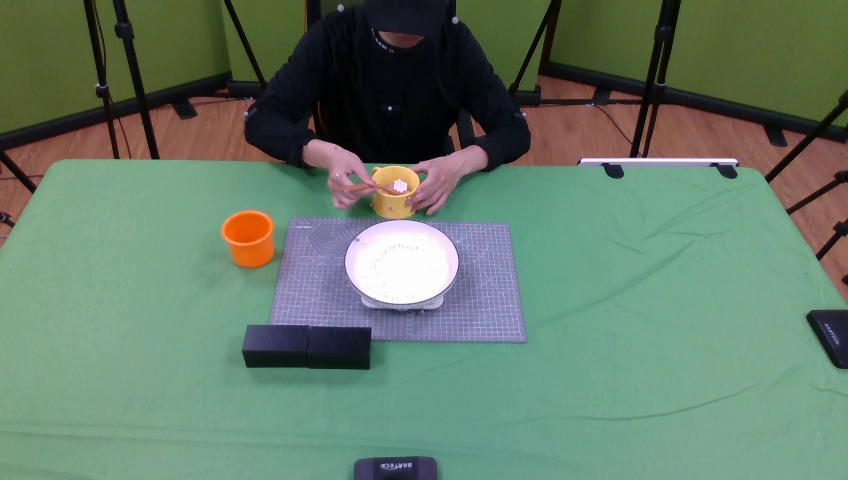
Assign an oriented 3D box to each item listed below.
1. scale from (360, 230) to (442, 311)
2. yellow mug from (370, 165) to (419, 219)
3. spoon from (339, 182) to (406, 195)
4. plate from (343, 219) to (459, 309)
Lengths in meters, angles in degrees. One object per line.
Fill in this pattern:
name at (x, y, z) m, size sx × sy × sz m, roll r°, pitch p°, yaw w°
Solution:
scale at (-0.042, 0.047, 1.138) m, size 0.149 × 0.032 × 0.199 m, roll 2°, pitch 46°, yaw -3°
yellow mug at (-0.072, -0.109, 1.268) m, size 0.100 × 0.064 × 0.130 m, roll -31°, pitch 55°, yaw -29°
spoon at (-0.101, -0.105, 1.194) m, size 0.041 × 0.021 × 0.194 m, roll 43°, pitch 24°, yaw 25°
plate at (-0.041, 0.046, 1.094) m, size 0.209 × 0.038 × 0.208 m, roll 2°, pitch 46°, yaw -2°
